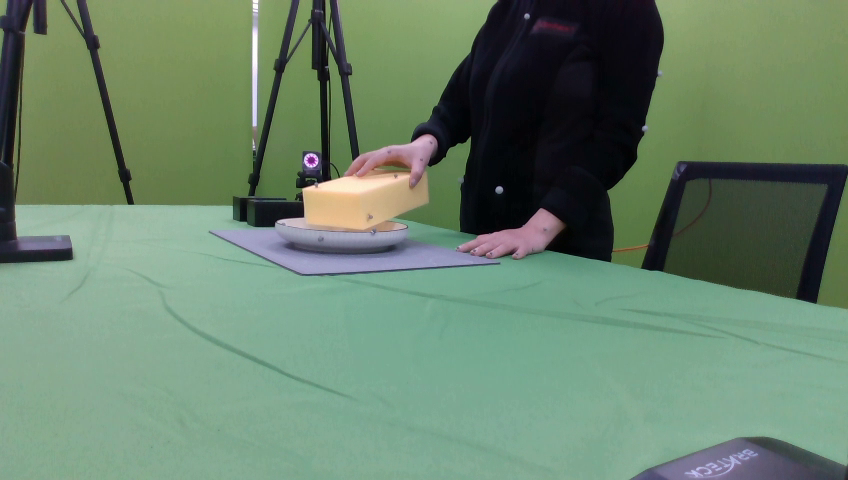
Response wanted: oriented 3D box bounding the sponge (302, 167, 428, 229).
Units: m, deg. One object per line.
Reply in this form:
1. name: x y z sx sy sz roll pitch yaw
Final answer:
1. sponge: -0.094 -0.077 1.032 0.118 0.061 0.207 6 18 29

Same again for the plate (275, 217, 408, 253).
1. plate: -0.129 -0.009 0.954 0.209 0.038 0.209 2 7 0
